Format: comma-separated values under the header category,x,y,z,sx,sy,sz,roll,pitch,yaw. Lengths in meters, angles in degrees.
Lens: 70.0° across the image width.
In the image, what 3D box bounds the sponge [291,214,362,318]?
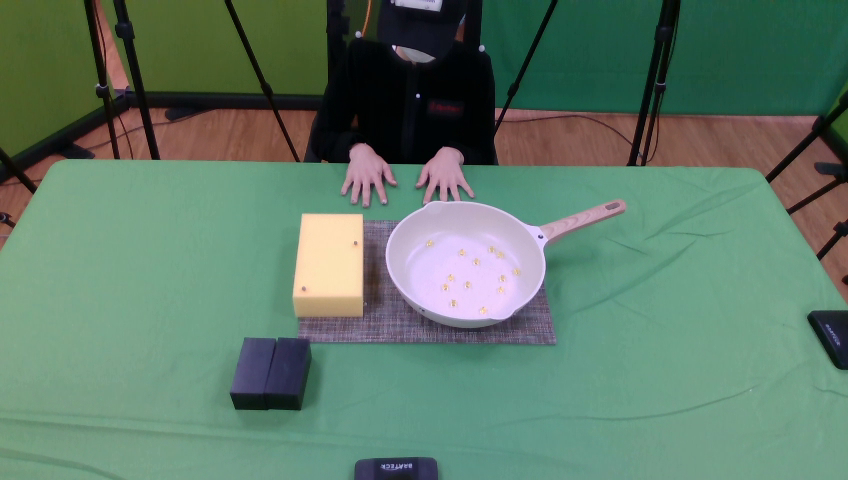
category,x,y,z,sx,sy,sz,roll,pitch,yaw
sponge,-0.173,0.044,1.112,0.118,0.061,0.205,-1,46,-5

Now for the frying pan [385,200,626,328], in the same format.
category,x,y,z,sx,sy,sz,roll,pitch,yaw
frying pan,0.169,0.014,1.137,0.488,0.103,0.304,-19,51,-11
